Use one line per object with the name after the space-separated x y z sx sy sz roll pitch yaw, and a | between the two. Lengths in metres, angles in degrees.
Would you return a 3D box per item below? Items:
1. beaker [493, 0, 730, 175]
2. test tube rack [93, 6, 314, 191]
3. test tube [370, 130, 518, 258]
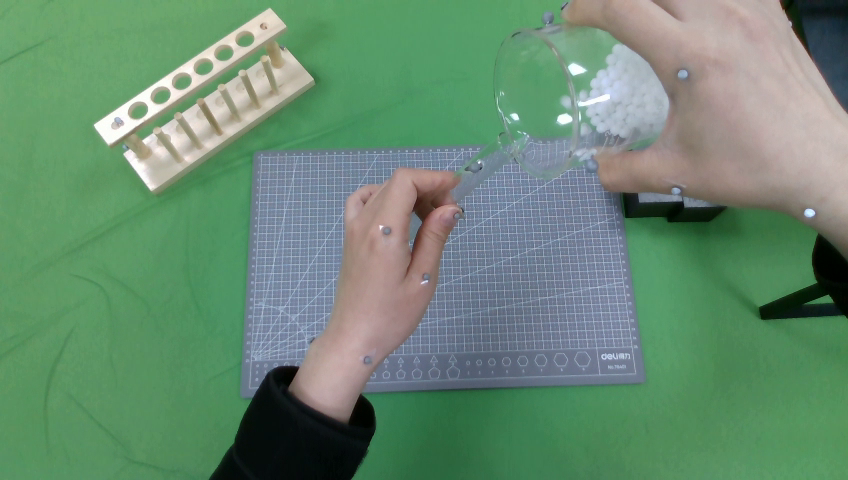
0.096 -0.080 0.315 0.100 0.084 0.073 -18 77 -17 | beaker
-0.255 -0.169 0.730 0.242 0.085 0.066 -38 77 -11 | test tube rack
0.006 -0.024 0.389 0.017 0.150 0.017 19 54 -28 | test tube
